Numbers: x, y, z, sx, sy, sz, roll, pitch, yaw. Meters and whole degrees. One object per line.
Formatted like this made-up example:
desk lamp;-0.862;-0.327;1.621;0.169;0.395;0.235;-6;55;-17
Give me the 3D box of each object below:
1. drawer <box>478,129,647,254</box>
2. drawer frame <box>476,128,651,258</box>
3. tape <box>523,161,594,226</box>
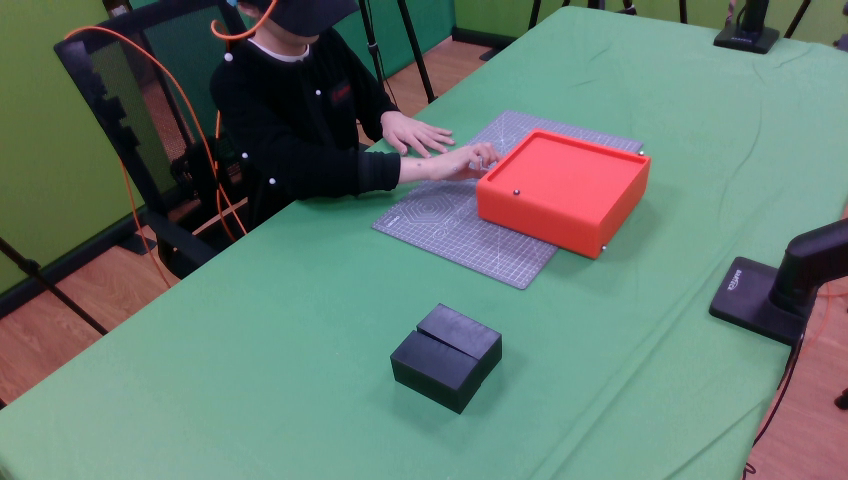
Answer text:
drawer;0.227;-0.085;0.994;0.210;0.073;0.195;23;48;30
drawer frame;0.229;-0.086;0.992;0.212;0.083;0.202;22;48;29
tape;0.221;-0.077;0.995;0.117;0.053;0.116;-4;40;4
